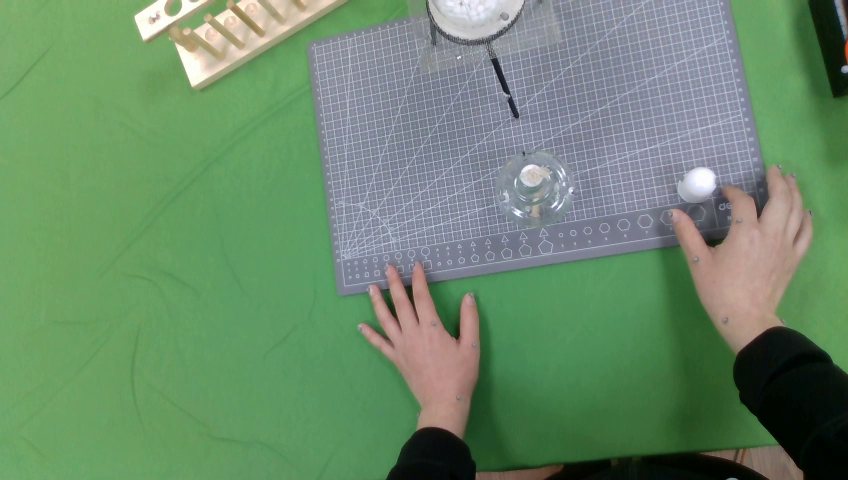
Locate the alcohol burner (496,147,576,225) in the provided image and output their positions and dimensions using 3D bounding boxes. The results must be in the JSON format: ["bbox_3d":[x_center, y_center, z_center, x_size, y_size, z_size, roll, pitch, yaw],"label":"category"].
[{"bbox_3d":[0.105,-0.054,0.578,0.078,0.119,0.077,-1,84,13],"label":"alcohol burner"}]

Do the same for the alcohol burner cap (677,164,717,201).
[{"bbox_3d":[0.260,-0.057,0.575,0.034,0.048,0.034,-1,85,15],"label":"alcohol burner cap"}]

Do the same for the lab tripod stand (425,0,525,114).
[{"bbox_3d":[0.062,-0.208,0.590,0.148,0.132,0.148,-1,86,13],"label":"lab tripod stand"}]

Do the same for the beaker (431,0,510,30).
[{"bbox_3d":[0.029,-0.218,0.482,0.084,0.101,0.074,4,87,15],"label":"beaker"}]

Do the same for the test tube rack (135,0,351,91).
[{"bbox_3d":[-0.194,-0.269,0.689,0.242,0.085,0.066,-27,79,11],"label":"test tube rack"}]

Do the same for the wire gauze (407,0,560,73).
[{"bbox_3d":[0.046,-0.214,0.527,0.125,0.011,0.121,-10,87,11],"label":"wire gauze"}]
